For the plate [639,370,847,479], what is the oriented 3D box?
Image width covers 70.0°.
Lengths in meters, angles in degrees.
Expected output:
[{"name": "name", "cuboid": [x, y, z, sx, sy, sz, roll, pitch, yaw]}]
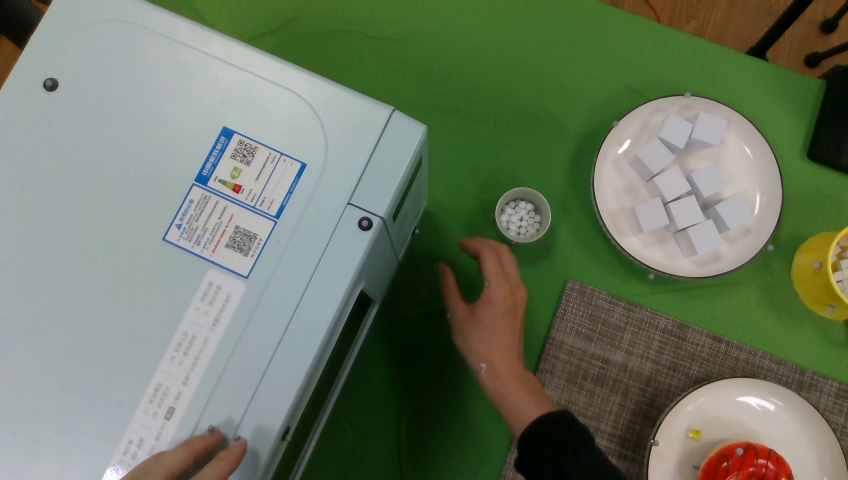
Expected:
[{"name": "plate", "cuboid": [0.323, 0.239, 0.626, 0.209, 0.038, 0.208, 0, 82, 0]}]

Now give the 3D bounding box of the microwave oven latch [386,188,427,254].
[{"name": "microwave oven latch", "cuboid": [-0.022, -0.027, 0.649, 0.030, 0.029, 0.079, 24, 83, 3]}]

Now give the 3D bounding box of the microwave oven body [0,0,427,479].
[{"name": "microwave oven body", "cuboid": [-0.232, 0.056, 0.539, 0.326, 0.261, 0.440, 24, 83, 3]}]

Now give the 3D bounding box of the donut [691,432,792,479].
[{"name": "donut", "cuboid": [0.320, 0.246, 0.614, 0.099, 0.048, 0.099, 0, 84, 3]}]

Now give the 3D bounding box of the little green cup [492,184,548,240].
[{"name": "little green cup", "cuboid": [0.104, -0.029, 0.668, 0.061, 0.039, 0.061, 0, 84, 2]}]

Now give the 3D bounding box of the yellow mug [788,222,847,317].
[{"name": "yellow mug", "cuboid": [0.462, 0.045, 0.646, 0.100, 0.064, 0.130, -16, 83, -3]}]

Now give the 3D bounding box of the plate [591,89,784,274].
[{"name": "plate", "cuboid": [0.288, -0.063, 0.675, 0.208, 0.039, 0.207, 0, 81, 0]}]

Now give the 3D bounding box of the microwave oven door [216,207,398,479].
[{"name": "microwave oven door", "cuboid": [-0.117, 0.153, 0.520, 0.039, 0.244, 0.355, 24, 82, 4]}]
